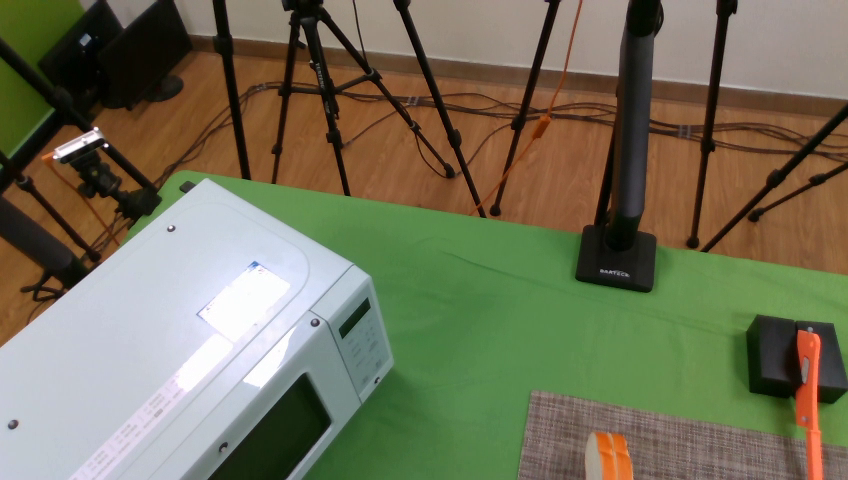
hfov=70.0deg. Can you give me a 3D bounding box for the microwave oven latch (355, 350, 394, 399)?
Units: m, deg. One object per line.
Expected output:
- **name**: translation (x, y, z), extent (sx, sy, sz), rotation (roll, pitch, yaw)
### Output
- **microwave oven latch**: translation (-0.076, 0.190, 0.879), extent (0.030, 0.030, 0.079), rotation (30, 62, 25)

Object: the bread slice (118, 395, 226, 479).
- **bread slice**: translation (-0.330, 0.269, 0.800), extent (0.134, 0.018, 0.106), rotation (-8, 51, -13)

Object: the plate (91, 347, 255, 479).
- **plate**: translation (-0.329, 0.244, 0.811), extent (0.208, 0.039, 0.205), rotation (0, 51, 1)

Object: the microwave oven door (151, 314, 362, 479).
- **microwave oven door**: translation (-0.216, 0.274, 0.700), extent (0.039, 0.246, 0.355), rotation (28, 60, 25)

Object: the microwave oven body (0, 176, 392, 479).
- **microwave oven body**: translation (-0.308, 0.187, 0.783), extent (0.323, 0.263, 0.440), rotation (28, 61, 24)

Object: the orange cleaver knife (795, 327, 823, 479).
- **orange cleaver knife**: translation (0.502, 0.215, 0.794), extent (0.012, 0.078, 0.210), rotation (5, 74, 12)
